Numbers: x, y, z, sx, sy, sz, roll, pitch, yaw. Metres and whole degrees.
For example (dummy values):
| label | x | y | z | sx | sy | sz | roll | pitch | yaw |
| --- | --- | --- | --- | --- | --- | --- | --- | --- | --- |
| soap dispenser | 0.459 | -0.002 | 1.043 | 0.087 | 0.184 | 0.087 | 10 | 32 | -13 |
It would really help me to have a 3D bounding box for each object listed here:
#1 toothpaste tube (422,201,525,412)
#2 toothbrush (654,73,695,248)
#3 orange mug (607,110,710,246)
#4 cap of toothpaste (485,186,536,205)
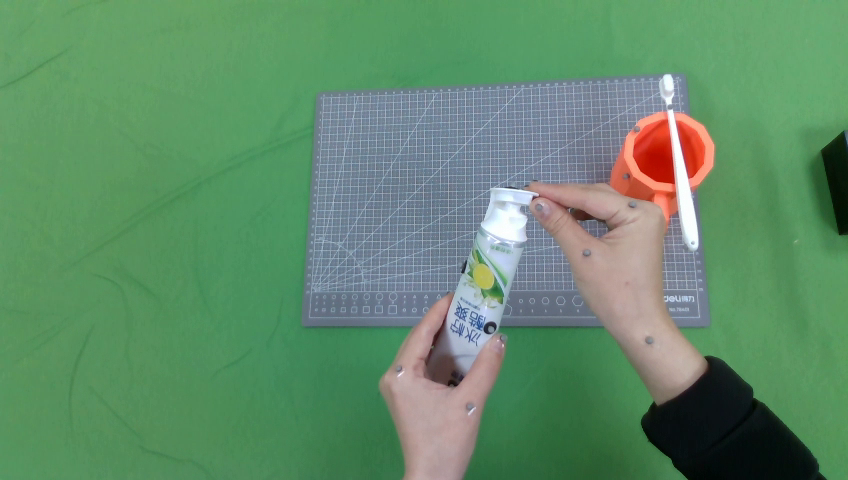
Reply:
| label | x | y | z | sx | sy | sz | roll | pitch | yaw |
| --- | --- | --- | --- | --- | --- | --- | --- | --- | --- |
| toothpaste tube | 0.038 | 0.046 | 0.448 | 0.054 | 0.035 | 0.166 | 29 | 113 | 35 |
| toothbrush | 0.244 | -0.080 | 0.589 | 0.014 | 0.017 | 0.181 | -4 | 75 | 3 |
| orange mug | 0.242 | -0.061 | 0.639 | 0.083 | 0.101 | 0.125 | 7 | 72 | 10 |
| cap of toothpaste | 0.059 | -0.031 | 0.420 | 0.037 | 0.037 | 0.011 | 5 | 90 | 9 |
